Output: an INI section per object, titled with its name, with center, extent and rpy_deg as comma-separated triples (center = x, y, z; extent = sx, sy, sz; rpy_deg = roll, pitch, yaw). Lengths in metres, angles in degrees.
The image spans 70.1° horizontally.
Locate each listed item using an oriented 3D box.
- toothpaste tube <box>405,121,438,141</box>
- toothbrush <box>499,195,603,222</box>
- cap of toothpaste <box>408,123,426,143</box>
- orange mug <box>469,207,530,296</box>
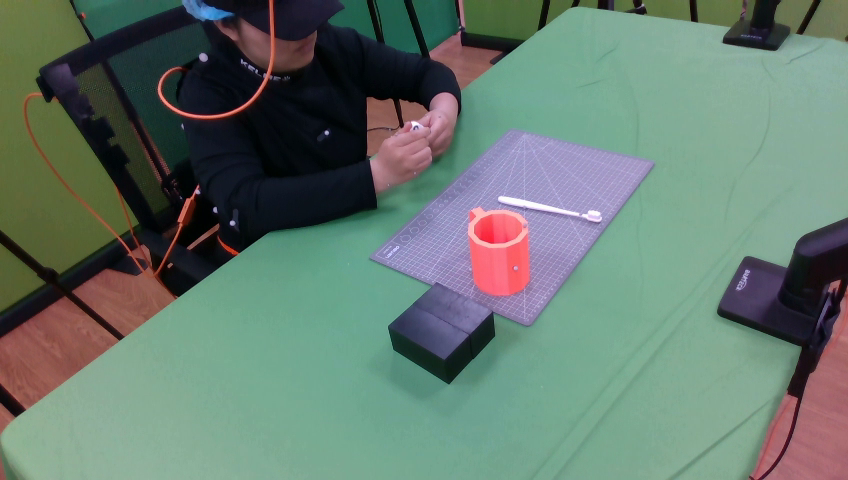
[toothpaste tube]
center = -0.007, -0.198, 1.118
extent = 0.055, 0.034, 0.165
rpy_deg = 10, 8, 5
[toothbrush]
center = 0.209, -0.055, 1.011
extent = 0.180, 0.017, 0.014
rpy_deg = 13, 61, 27
[cap of toothpaste]
center = -0.013, -0.184, 1.030
extent = 0.037, 0.037, 0.011
rpy_deg = -30, 45, -22
[orange mug]
center = 0.104, 0.008, 0.894
extent = 0.084, 0.101, 0.125
rpy_deg = -22, 46, -14
